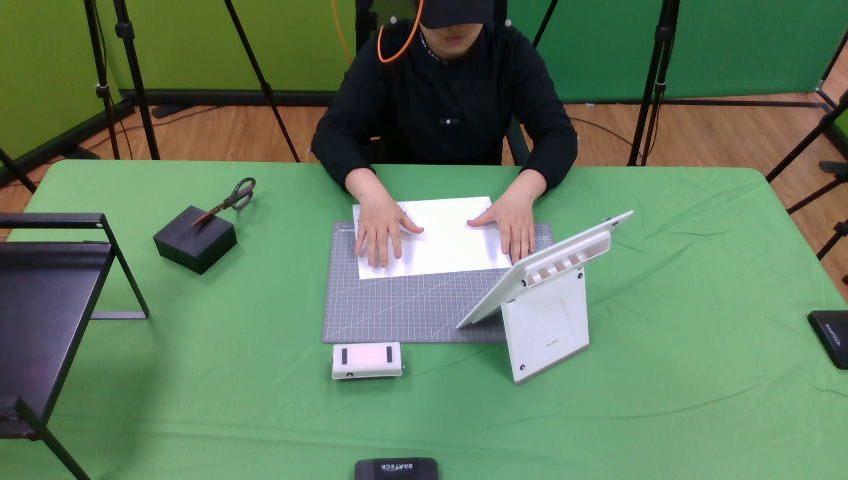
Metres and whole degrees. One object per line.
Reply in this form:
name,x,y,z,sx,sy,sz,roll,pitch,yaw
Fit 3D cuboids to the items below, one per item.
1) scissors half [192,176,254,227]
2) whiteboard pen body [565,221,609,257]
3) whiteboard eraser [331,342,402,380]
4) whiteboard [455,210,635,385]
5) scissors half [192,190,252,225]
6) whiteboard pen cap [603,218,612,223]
scissors half,-0.388,-0.075,1.174,0.013,0.040,0.174,29,47,8
whiteboard pen body,0.334,-0.004,1.228,0.141,0.017,0.017,-33,57,-29
whiteboard eraser,-0.094,0.198,0.986,0.113,0.042,0.055,-2,44,-6
whiteboard,0.210,0.111,0.955,0.217,0.306,0.143,-21,72,-23
scissors half,-0.394,-0.060,1.187,0.013,0.040,0.175,25,29,12
whiteboard pen cap,0.378,-0.032,1.255,0.033,0.018,0.018,-33,57,-30
